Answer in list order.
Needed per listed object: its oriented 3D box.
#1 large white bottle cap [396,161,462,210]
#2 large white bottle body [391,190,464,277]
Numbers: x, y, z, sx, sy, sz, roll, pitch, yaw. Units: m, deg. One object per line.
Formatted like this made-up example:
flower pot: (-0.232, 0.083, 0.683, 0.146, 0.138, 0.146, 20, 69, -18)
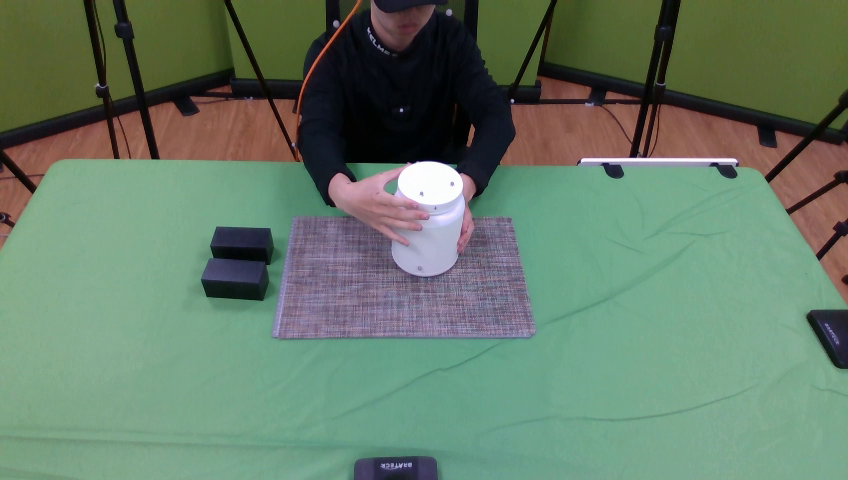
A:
large white bottle cap: (0.009, -0.095, 1.053, 0.115, 0.018, 0.114, 3, 46, -2)
large white bottle body: (0.005, -0.035, 1.115, 0.131, 0.185, 0.130, 2, 47, -2)
